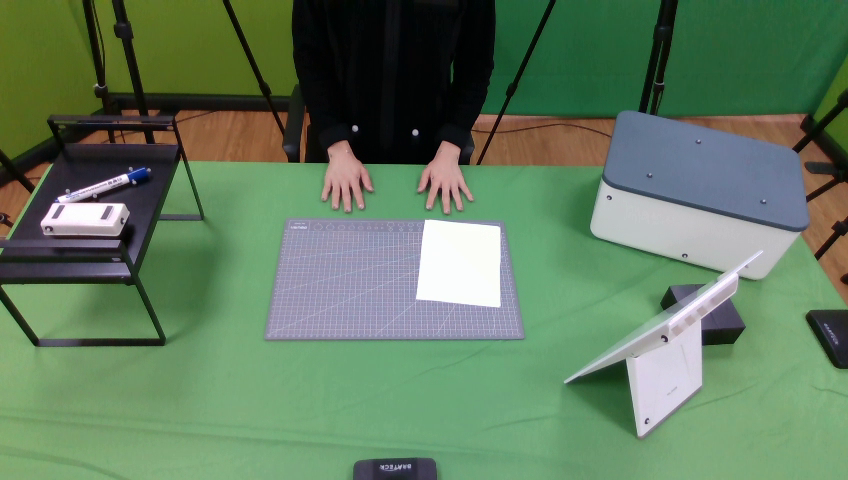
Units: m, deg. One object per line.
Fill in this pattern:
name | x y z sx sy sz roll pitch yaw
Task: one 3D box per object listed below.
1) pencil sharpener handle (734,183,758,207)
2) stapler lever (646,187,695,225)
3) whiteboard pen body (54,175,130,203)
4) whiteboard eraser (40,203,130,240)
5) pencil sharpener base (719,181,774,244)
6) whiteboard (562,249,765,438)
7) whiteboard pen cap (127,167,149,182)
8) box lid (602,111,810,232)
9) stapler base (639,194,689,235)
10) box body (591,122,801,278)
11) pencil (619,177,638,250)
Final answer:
pencil sharpener handle | 0.663 -0.100 1.259 0.036 0.068 0.030 10 46 6
stapler lever | 0.516 -0.078 1.265 0.027 0.040 0.117 1 40 -31
whiteboard pen body | -0.530 -0.085 0.994 0.141 0.017 0.017 -26 54 -26
whiteboard eraser | -0.513 -0.028 0.922 0.113 0.042 0.055 1 48 -3
pencil sharpener base | 0.652 -0.056 1.232 0.061 0.107 0.076 11 46 6
whiteboard | 0.386 0.175 0.905 0.217 0.306 0.143 -26 72 -26
whiteboard pen cap | -0.482 -0.110 1.019 0.033 0.018 0.018 -28 55 -27
box lid | 0.545 -0.143 1.176 0.371 0.015 0.262 15 47 11
stapler base | 0.510 -0.060 1.278 0.041 0.024 0.129 1 38 -31
box body | 0.540 -0.092 1.230 0.363 0.161 0.253 16 47 11
pencil | 0.431 -0.060 1.284 0.012 0.012 0.193 2 55 -2
